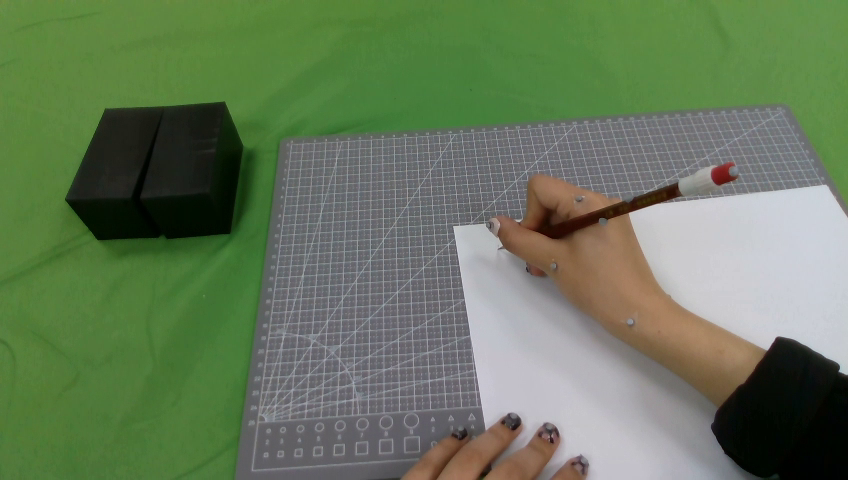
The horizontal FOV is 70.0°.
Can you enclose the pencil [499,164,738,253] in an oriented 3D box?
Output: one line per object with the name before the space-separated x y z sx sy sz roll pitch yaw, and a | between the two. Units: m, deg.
pencil | 0.103 -0.012 0.374 0.012 0.193 0.012 8 74 -28
